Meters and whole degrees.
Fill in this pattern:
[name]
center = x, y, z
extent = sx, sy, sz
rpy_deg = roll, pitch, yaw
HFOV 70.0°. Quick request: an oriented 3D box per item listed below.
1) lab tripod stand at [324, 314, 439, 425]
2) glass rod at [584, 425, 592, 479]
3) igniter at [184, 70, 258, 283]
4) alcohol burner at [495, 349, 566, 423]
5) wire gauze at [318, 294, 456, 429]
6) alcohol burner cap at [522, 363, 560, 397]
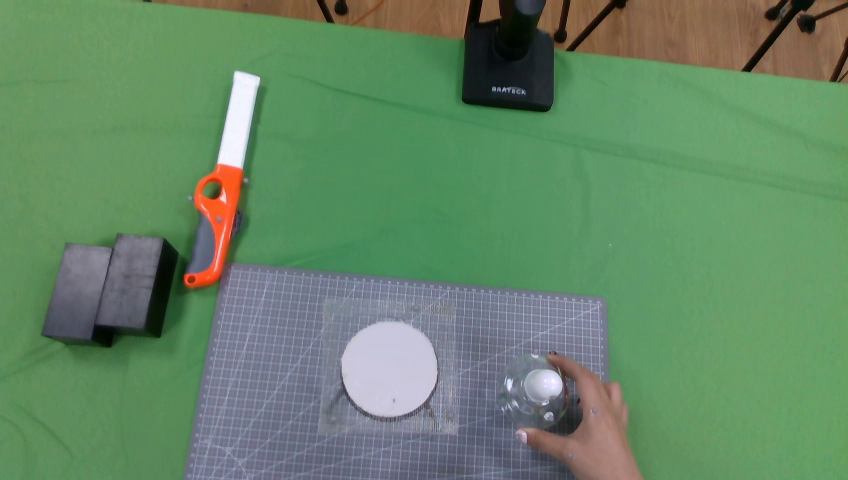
[lab tripod stand]
center = -0.038, 0.132, 0.609
extent = 0.148, 0.132, 0.147
rpy_deg = 1, 70, -3
[glass rod]
center = 0.175, 0.299, 0.638
extent = 0.008, 0.008, 0.198
rpy_deg = 5, 71, -4
[igniter]
center = -0.237, -0.080, 0.721
extent = 0.057, 0.025, 0.275
rpy_deg = 12, 70, -17
[alcohol burner]
center = 0.114, 0.149, 0.628
extent = 0.078, 0.120, 0.077
rpy_deg = 1, 69, -3
[wire gauze]
center = -0.034, 0.107, 0.547
extent = 0.125, 0.011, 0.120
rpy_deg = 2, 70, -5
[alcohol burner cap]
center = 0.118, 0.137, 0.594
extent = 0.034, 0.048, 0.033
rpy_deg = 1, 75, -5
